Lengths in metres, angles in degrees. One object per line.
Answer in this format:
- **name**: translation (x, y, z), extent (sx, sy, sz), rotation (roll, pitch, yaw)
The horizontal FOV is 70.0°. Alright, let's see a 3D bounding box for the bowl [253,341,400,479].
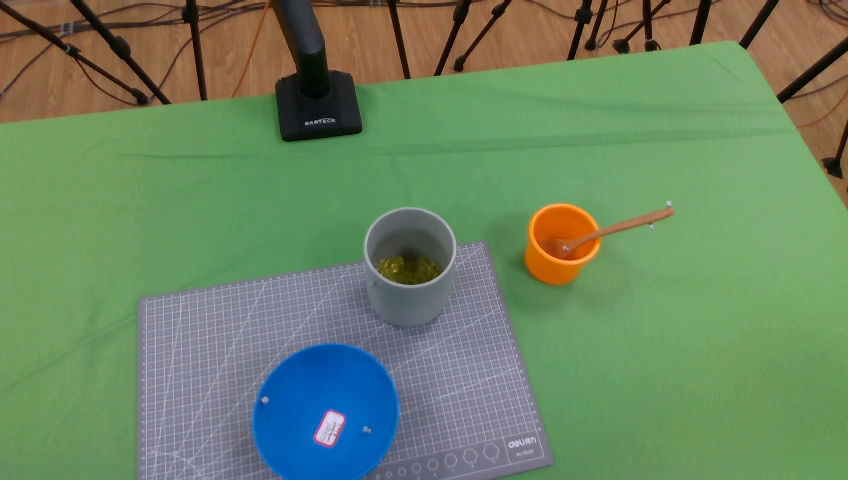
- **bowl**: translation (-0.102, 0.193, 0.658), extent (0.151, 0.077, 0.150), rotation (2, 60, -3)

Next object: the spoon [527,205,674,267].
- **spoon**: translation (0.214, -0.006, 0.753), extent (0.022, 0.193, 0.041), rotation (28, 51, -39)

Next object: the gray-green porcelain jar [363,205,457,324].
- **gray-green porcelain jar**: translation (-0.018, 0.036, 0.725), extent (0.106, 0.127, 0.105), rotation (2, 60, -2)
